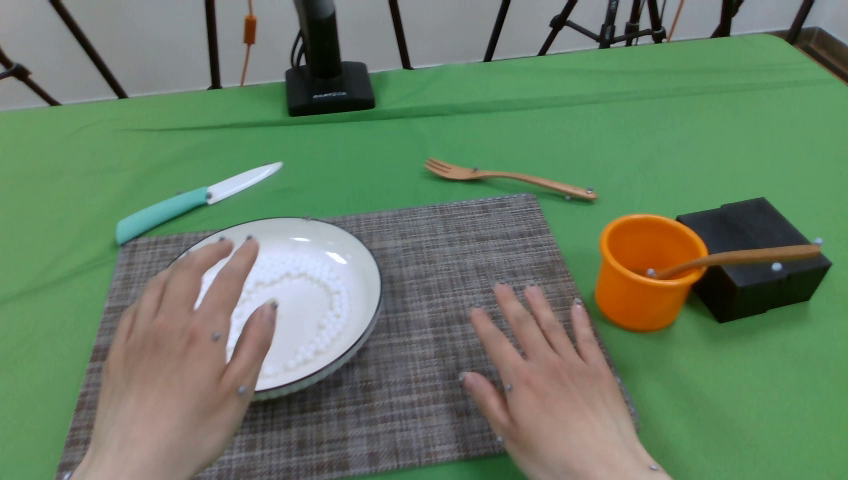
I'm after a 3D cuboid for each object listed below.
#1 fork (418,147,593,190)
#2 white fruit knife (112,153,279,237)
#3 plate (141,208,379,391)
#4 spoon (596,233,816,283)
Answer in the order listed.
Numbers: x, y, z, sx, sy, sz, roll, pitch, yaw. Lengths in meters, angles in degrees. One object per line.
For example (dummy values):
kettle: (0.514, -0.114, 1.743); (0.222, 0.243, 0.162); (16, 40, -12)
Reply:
fork: (0.093, -0.082, 0.707); (0.206, 0.019, 0.028); (11, 40, 14)
white fruit knife: (-0.255, -0.059, 0.689); (0.207, 0.016, 0.027); (-31, 75, -32)
plate: (-0.143, 0.051, 0.553); (0.209, 0.038, 0.207); (0, 44, 0)
spoon: (0.226, 0.014, 0.514); (0.041, 0.193, 0.022); (-35, 98, -33)
